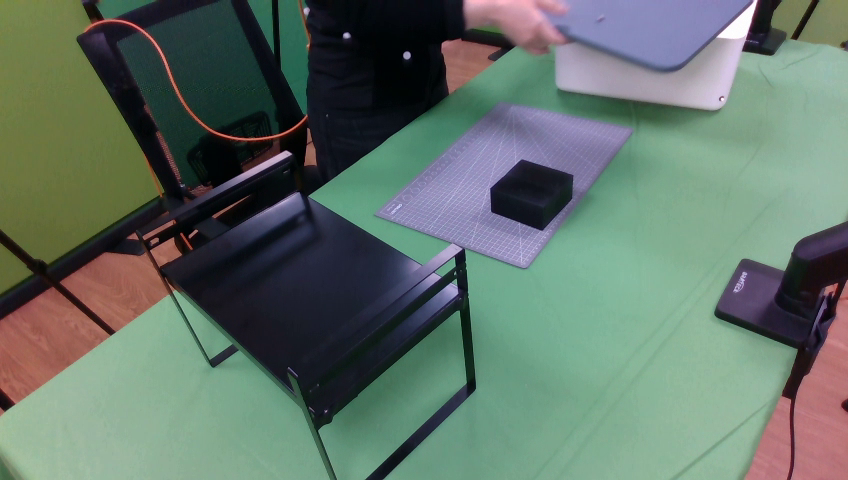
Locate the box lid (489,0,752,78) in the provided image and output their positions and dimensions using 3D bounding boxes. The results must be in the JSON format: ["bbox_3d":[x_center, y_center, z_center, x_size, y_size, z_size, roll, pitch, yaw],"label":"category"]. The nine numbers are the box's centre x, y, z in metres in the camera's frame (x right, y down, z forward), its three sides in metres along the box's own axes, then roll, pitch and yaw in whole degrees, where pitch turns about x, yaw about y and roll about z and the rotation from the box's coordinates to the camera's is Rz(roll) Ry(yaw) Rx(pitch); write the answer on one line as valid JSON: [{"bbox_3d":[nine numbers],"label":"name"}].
[{"bbox_3d":[0.318,-0.400,1.017,0.264,0.015,0.368,-40,56,-21],"label":"box lid"}]

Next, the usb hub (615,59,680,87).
[{"bbox_3d":[0.484,-0.363,1.311,0.124,0.025,0.049,21,47,27],"label":"usb hub"}]

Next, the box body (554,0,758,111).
[{"bbox_3d":[0.480,-0.417,1.282,0.362,0.161,0.254,15,46,24],"label":"box body"}]
